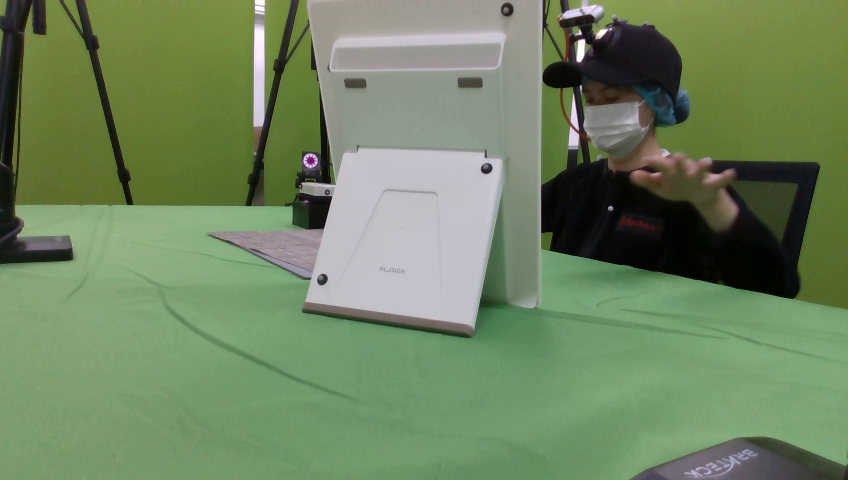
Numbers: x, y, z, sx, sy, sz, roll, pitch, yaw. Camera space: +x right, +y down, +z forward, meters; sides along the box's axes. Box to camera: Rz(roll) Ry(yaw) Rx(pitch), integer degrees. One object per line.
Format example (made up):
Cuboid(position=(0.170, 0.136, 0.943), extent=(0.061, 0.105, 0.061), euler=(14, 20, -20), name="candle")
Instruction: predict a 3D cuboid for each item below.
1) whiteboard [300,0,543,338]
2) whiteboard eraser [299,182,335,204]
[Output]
Cuboid(position=(-0.020, -0.050, 0.523), extent=(0.216, 0.305, 0.144), euler=(6, 27, 22), name="whiteboard")
Cuboid(position=(-0.214, -0.097, 1.231), extent=(0.056, 0.042, 0.112), euler=(-3, 9, -27), name="whiteboard eraser")
